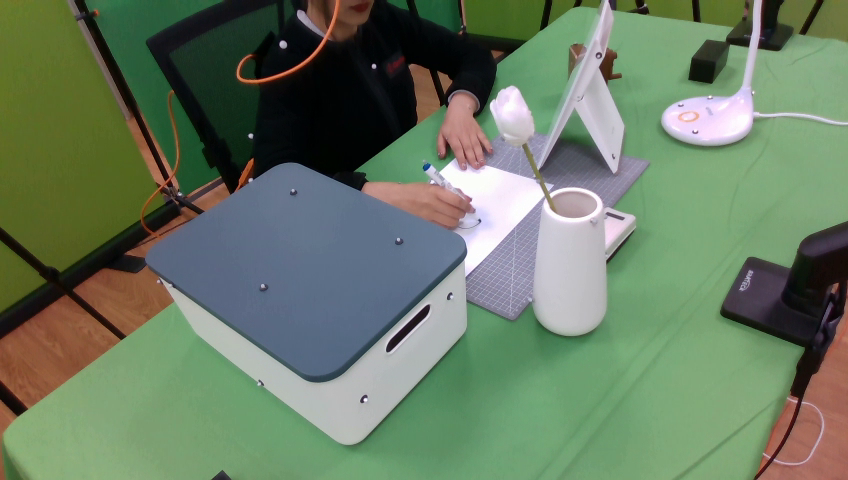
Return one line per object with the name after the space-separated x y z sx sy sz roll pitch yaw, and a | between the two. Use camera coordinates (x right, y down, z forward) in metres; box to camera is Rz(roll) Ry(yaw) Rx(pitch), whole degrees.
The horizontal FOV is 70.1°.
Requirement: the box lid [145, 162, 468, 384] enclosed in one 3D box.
-0.157 0.014 0.769 0.368 0.015 0.264 25 51 33 | box lid

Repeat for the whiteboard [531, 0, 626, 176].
0.320 -0.259 1.050 0.144 0.306 0.217 22 45 6 | whiteboard

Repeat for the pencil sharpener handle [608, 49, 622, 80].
0.394 -0.368 1.253 0.030 0.068 0.036 -9 32 1 | pencil sharpener handle

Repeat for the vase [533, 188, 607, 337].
0.187 0.033 0.771 0.098 0.201 0.097 -6 41 6 | vase

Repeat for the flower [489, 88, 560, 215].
0.158 -0.028 0.720 0.038 0.364 0.044 -14 44 23 | flower

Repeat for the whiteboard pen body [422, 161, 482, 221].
0.049 -0.077 0.985 0.017 0.141 0.017 -37 25 21 | whiteboard pen body

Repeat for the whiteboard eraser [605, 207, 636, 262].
0.272 -0.003 0.919 0.055 0.042 0.113 27 51 32 | whiteboard eraser

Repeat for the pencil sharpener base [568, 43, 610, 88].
0.345 -0.352 1.263 0.077 0.107 0.061 -9 40 1 | pencil sharpener base

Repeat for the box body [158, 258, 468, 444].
-0.147 0.072 0.816 0.361 0.161 0.255 24 50 33 | box body

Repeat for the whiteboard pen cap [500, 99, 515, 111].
0.177 -0.287 1.290 0.033 0.018 0.018 -37 47 -26 | whiteboard pen cap

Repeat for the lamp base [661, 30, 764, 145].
0.535 -0.287 1.096 0.179 0.181 0.159 -10 40 -4 | lamp base
